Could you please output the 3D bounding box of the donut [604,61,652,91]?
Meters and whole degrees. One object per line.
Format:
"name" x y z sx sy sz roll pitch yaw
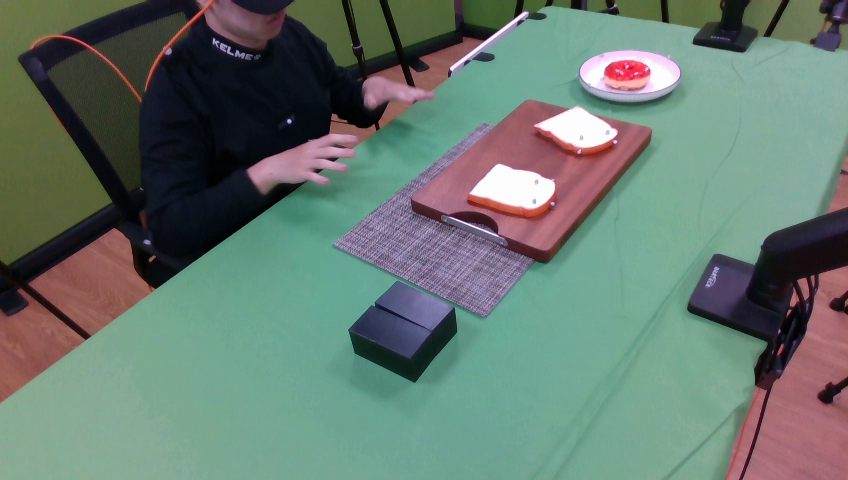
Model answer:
"donut" 0.432 -0.349 1.285 0.099 0.048 0.098 -4 38 4

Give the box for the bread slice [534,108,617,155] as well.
"bread slice" 0.289 -0.200 1.121 0.107 0.018 0.133 -27 43 -22

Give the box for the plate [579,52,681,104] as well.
"plate" 0.437 -0.343 1.294 0.209 0.038 0.208 -4 40 4

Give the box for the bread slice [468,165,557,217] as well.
"bread slice" 0.154 -0.082 1.003 0.130 0.019 0.105 18 48 29
